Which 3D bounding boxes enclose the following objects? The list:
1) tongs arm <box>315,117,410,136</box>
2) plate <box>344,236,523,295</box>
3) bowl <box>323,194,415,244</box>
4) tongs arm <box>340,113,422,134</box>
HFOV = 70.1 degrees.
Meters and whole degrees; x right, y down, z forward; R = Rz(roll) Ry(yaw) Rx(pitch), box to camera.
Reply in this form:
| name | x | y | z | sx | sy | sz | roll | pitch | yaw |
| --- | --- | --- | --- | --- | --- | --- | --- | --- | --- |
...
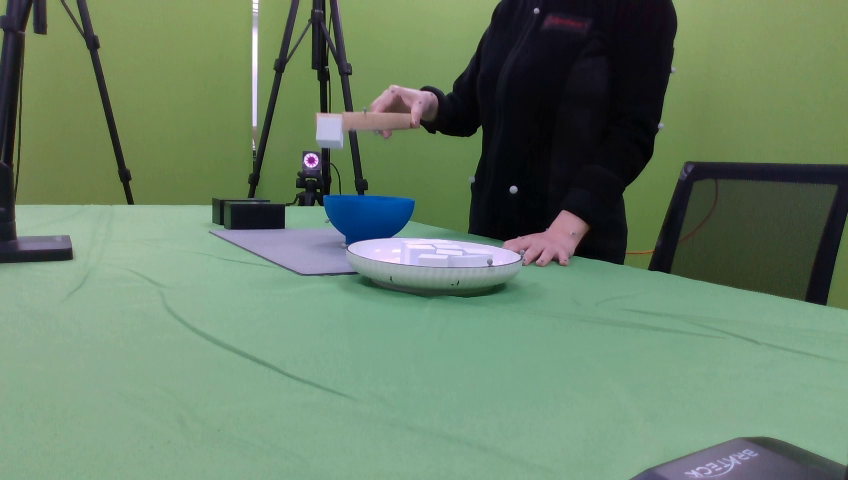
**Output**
| name | x | y | z | sx | sy | sz | roll | pitch | yaw |
| --- | --- | --- | --- | --- | --- | --- | --- | --- | --- |
| tongs arm | -0.092 | -0.192 | 1.000 | 0.028 | 0.028 | 0.388 | -7 | 9 | 17 |
| plate | 0.010 | 0.030 | 0.707 | 0.208 | 0.039 | 0.207 | 3 | 8 | 0 |
| bowl | -0.090 | -0.032 | 0.986 | 0.151 | 0.077 | 0.151 | 2 | 7 | 0 |
| tongs arm | -0.068 | -0.193 | 0.994 | 0.050 | 0.026 | 0.386 | -3 | 11 | 20 |
